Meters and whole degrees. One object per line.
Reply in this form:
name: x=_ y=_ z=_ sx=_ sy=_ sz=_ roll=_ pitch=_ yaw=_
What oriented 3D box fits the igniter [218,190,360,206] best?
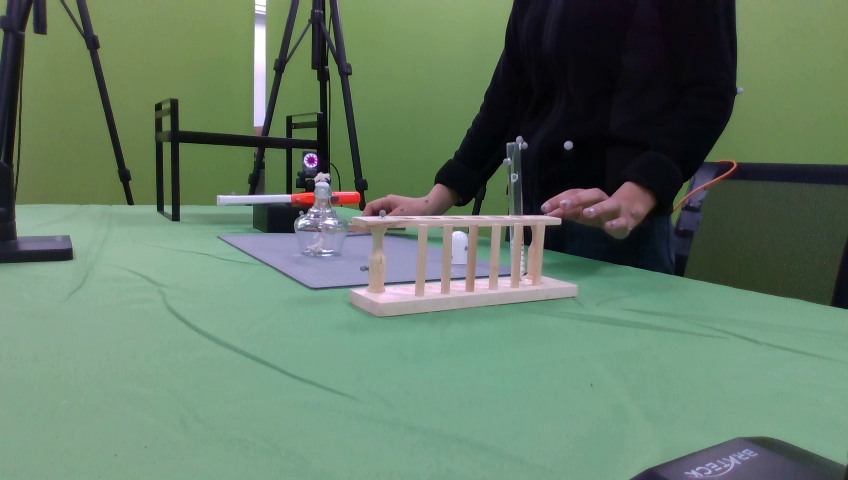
igniter: x=-0.247 y=-0.080 z=1.150 sx=0.278 sy=0.025 sz=0.057 roll=-5 pitch=8 yaw=-29

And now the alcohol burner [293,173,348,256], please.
alcohol burner: x=-0.147 y=-0.036 z=0.859 sx=0.078 sy=0.119 sz=0.078 roll=4 pitch=8 yaw=0

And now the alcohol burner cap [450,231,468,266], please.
alcohol burner cap: x=0.046 y=0.012 z=0.838 sx=0.034 sy=0.048 sz=0.034 roll=3 pitch=6 yaw=0

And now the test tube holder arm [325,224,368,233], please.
test tube holder arm: x=-0.138 y=-0.021 z=1.088 sx=0.088 sy=0.015 sz=0.010 roll=-1 pitch=13 yaw=-42

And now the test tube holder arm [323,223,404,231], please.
test tube holder arm: x=-0.108 y=-0.023 z=1.122 sx=0.179 sy=0.015 sz=0.013 roll=-1 pitch=13 yaw=-43

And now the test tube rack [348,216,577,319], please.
test tube rack: x=0.048 y=0.021 z=0.619 sx=0.244 sy=0.085 sz=0.066 roll=-2 pitch=9 yaw=-31

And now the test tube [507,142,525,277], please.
test tube: x=0.101 y=-0.032 z=0.664 sx=0.017 sy=0.150 sz=0.017 roll=-3 pitch=9 yaw=1
